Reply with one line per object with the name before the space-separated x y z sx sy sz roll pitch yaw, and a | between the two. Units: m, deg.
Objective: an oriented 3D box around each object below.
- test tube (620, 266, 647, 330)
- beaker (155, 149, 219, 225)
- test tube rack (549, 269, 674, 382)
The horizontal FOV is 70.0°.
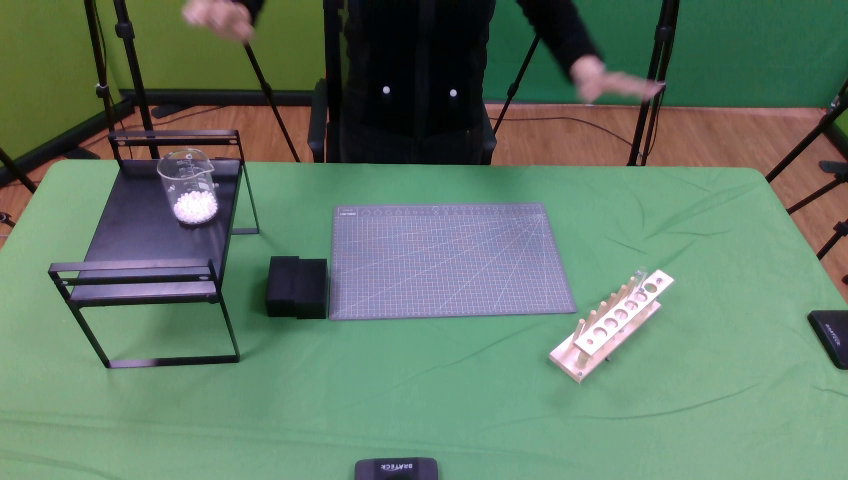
test tube | 0.347 0.100 1.013 0.017 0.151 0.017 1 43 0
beaker | -0.362 -0.080 0.945 0.084 0.101 0.073 4 46 -1
test tube rack | 0.325 0.134 1.047 0.242 0.085 0.066 -32 56 -30
